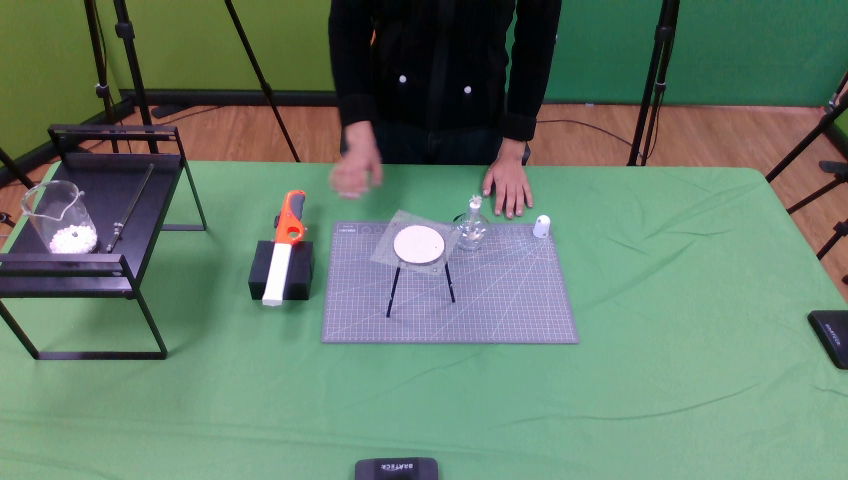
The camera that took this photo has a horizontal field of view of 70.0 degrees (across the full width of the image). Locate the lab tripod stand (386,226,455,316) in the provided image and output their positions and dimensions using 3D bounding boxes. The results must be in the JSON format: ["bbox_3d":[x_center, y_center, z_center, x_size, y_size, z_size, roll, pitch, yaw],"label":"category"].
[{"bbox_3d":[-0.014,0.054,1.064,0.148,0.132,0.147,2,48,-2],"label":"lab tripod stand"}]

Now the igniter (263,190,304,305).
[{"bbox_3d":[-0.255,0.004,1.107,0.057,0.025,0.274,6,47,-7],"label":"igniter"}]

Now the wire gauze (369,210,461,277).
[{"bbox_3d":[-0.013,0.006,1.017,0.121,0.011,0.124,17,49,12],"label":"wire gauze"}]

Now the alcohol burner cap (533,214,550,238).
[{"bbox_3d":[0.240,-0.031,1.228,0.034,0.048,0.033,1,46,-1],"label":"alcohol burner cap"}]

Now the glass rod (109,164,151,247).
[{"bbox_3d":[-0.473,-0.061,0.979,0.008,0.008,0.198,1,46,-3],"label":"glass rod"}]

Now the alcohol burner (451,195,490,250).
[{"bbox_3d":[0.092,-0.039,1.175,0.078,0.120,0.077,2,45,-2],"label":"alcohol burner"}]

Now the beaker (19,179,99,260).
[{"bbox_3d":[-0.522,-0.024,0.878,0.074,0.101,0.083,-26,54,-25],"label":"beaker"}]
